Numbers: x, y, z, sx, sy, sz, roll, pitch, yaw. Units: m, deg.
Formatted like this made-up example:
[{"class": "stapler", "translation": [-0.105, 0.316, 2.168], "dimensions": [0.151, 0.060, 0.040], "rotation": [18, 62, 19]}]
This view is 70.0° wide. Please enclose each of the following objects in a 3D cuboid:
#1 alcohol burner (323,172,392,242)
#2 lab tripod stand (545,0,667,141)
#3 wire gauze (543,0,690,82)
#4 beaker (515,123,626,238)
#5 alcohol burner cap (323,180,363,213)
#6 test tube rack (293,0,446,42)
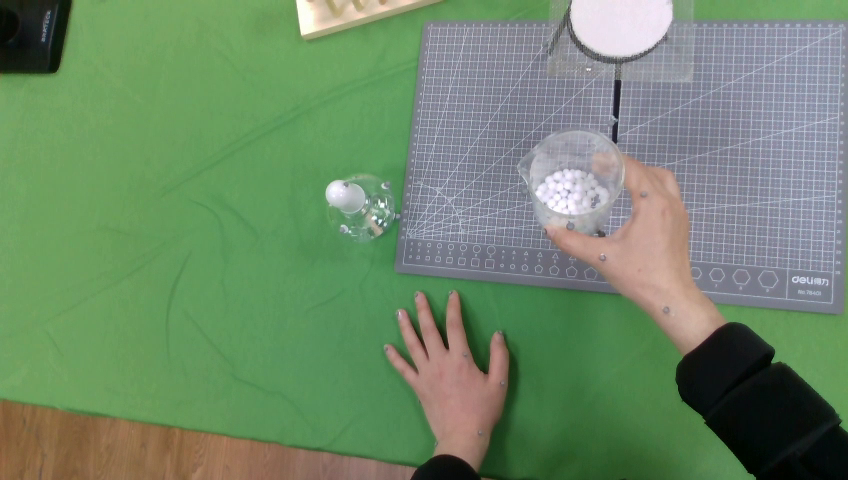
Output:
[{"class": "alcohol burner", "translation": [-0.076, -0.039, 0.647], "dimensions": [0.078, 0.120, 0.077], "rotation": [-2, 79, 11]}, {"class": "lab tripod stand", "translation": [0.184, -0.187, 0.597], "dimensions": [0.148, 0.132, 0.148], "rotation": [-1, 82, 11]}, {"class": "wire gauze", "translation": [0.170, -0.198, 0.532], "dimensions": [0.125, 0.011, 0.121], "rotation": [4, 84, 14]}, {"class": "beaker", "translation": [0.121, -0.044, 0.509], "dimensions": [0.083, 0.101, 0.074], "rotation": [10, 81, 14]}, {"class": "alcohol burner cap", "translation": [-0.085, -0.046, 0.613], "dimensions": [0.034, 0.048, 0.034], "rotation": [-1, 84, 12]}, {"class": "test tube rack", "translation": [-0.049, -0.309, 0.696], "dimensions": [0.242, 0.085, 0.066], "rotation": [-13, 78, 10]}]
